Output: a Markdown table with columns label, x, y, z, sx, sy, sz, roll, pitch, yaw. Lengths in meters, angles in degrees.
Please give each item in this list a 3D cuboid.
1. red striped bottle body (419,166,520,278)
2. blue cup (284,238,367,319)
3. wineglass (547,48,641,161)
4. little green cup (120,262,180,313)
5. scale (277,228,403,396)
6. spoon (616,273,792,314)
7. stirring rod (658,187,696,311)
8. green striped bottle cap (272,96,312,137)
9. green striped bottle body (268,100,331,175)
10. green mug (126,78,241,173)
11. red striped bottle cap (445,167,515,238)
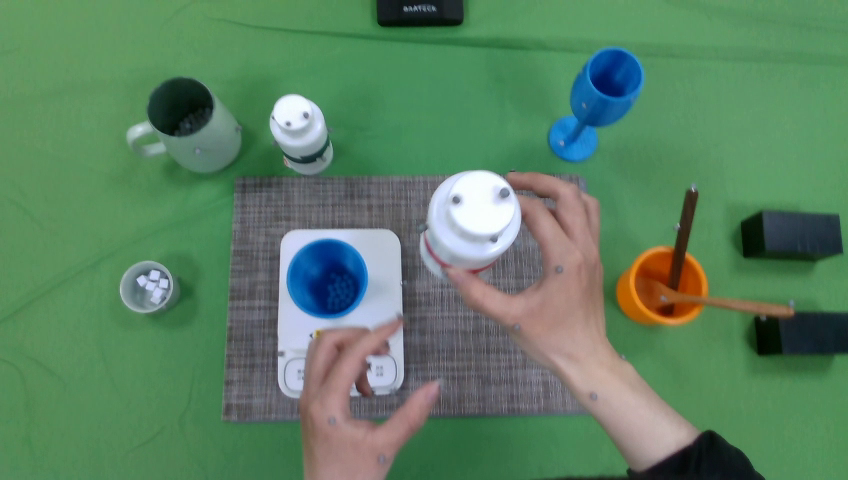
| label | x | y | z | sx | sy | sz | roll | pitch | yaw |
| --- | --- | --- | --- | --- | --- | --- | --- | --- | --- |
| red striped bottle body | 0.031 | -0.012 | 0.438 | 0.063 | 0.120 | 0.062 | 1 | 76 | -5 |
| blue cup | -0.105 | 0.049 | 0.674 | 0.093 | 0.100 | 0.092 | 1 | 79 | -5 |
| wineglass | 0.200 | -0.157 | 0.732 | 0.074 | 0.173 | 0.073 | 0 | 76 | -2 |
| little green cup | -0.326 | 0.059 | 0.728 | 0.061 | 0.039 | 0.061 | 1 | 77 | -4 |
| scale | -0.102 | 0.084 | 0.732 | 0.149 | 0.031 | 0.200 | -2 | 77 | -3 |
| spoon | 0.315 | 0.067 | 0.699 | 0.022 | 0.192 | 0.041 | 21 | 80 | -42 |
| stirring rod | 0.295 | 0.016 | 0.710 | 0.014 | 0.177 | 0.006 | 4 | 36 | 12 |
| green striped bottle cap | -0.150 | -0.140 | 0.687 | 0.044 | 0.020 | 0.044 | 1 | 76 | -3 |
| green striped bottle body | -0.151 | -0.128 | 0.737 | 0.063 | 0.119 | 0.063 | 1 | 76 | -2 |
| green mug | -0.296 | -0.131 | 0.740 | 0.125 | 0.105 | 0.092 | -22 | 79 | -7 |
| red striped bottle cap | 0.036 | -0.024 | 0.385 | 0.044 | 0.018 | 0.044 | 1 | 75 | -5 |
